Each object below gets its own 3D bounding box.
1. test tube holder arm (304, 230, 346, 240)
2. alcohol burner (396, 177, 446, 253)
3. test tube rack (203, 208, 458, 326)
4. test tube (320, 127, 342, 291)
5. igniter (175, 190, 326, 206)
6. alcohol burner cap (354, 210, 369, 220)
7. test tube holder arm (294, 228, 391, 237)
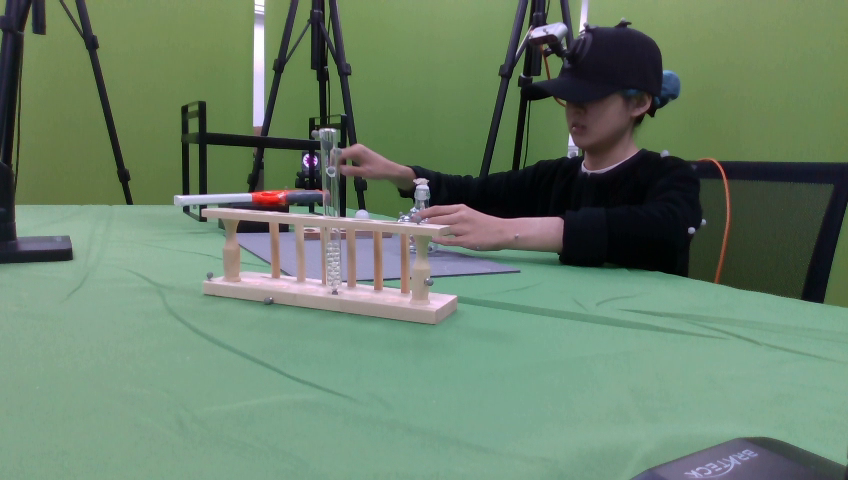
[{"bbox_3d":[-0.174,-0.009,1.027,0.088,0.015,0.010,0,43,-31],"label":"test tube holder arm"},{"bbox_3d":[-0.004,-0.038,0.939,0.078,0.119,0.078,4,7,0],"label":"alcohol burner"},{"bbox_3d":[-0.090,0.019,0.579,0.241,0.085,0.067,5,7,19],"label":"test tube rack"},{"bbox_3d":[-0.084,-0.027,0.554,0.017,0.150,0.017,-1,7,0],"label":"test tube"},{"bbox_3d":[-0.315,-0.079,1.128,0.278,0.025,0.057,-5,12,-34],"label":"igniter"},{"bbox_3d":[-0.118,-0.033,1.133,0.034,0.048,0.034,1,7,0],"label":"alcohol burner cap"},{"bbox_3d":[-0.138,-0.013,1.054,0.179,0.015,0.013,-1,43,-32],"label":"test tube holder arm"}]
